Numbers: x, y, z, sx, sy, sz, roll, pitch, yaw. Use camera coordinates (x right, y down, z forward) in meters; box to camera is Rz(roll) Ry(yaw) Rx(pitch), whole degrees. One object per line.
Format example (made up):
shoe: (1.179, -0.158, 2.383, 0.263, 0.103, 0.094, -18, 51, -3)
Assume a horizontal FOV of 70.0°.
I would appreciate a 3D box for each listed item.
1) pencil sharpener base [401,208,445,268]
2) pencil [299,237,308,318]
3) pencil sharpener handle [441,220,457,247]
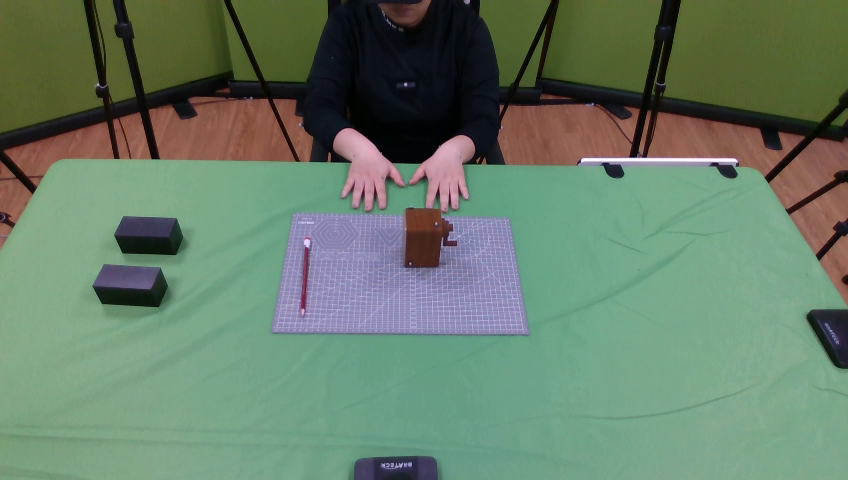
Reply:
pencil sharpener base: (-0.003, -0.003, 1.137, 0.077, 0.107, 0.061, 0, 45, -5)
pencil: (-0.223, 0.066, 1.120, 0.012, 0.012, 0.192, -1, 47, -6)
pencil sharpener handle: (0.049, -0.012, 1.133, 0.031, 0.068, 0.036, 0, 46, -5)
